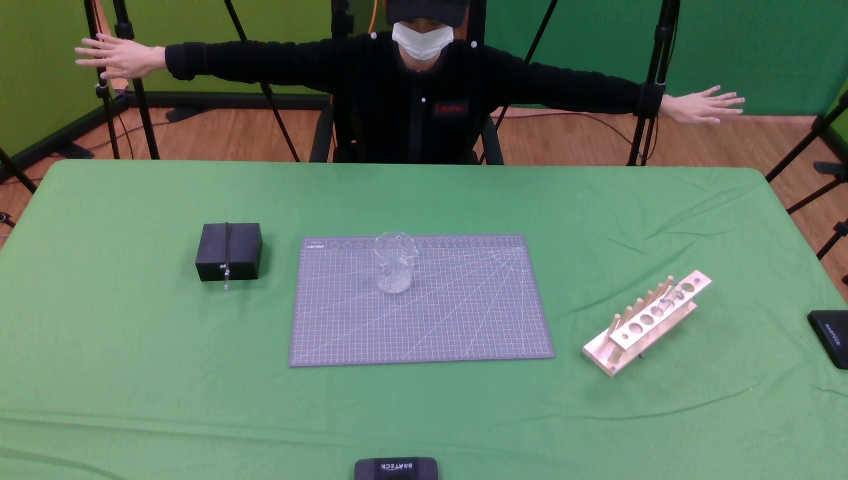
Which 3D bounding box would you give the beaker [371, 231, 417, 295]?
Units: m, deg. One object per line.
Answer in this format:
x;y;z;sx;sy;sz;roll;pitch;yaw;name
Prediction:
-0.054;0.045;1.093;0.084;0.101;0.073;17;47;10;beaker

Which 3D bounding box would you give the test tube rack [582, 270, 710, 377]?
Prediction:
0.389;0.132;1.057;0.242;0.085;0.066;-28;54;-28;test tube rack

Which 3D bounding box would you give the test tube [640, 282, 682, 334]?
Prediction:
0.389;0.116;1.002;0.017;0.151;0.017;2;53;-3;test tube

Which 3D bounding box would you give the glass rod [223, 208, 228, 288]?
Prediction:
-0.360;0.010;1.098;0.008;0.008;0.198;-7;47;-12;glass rod
